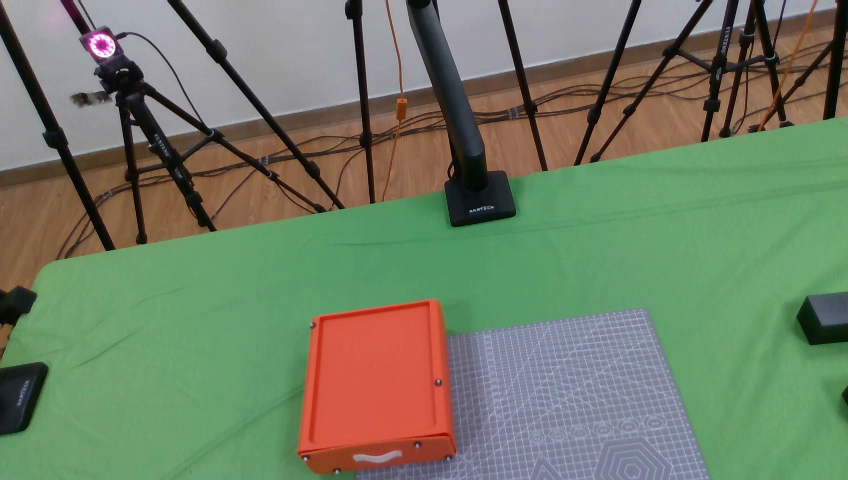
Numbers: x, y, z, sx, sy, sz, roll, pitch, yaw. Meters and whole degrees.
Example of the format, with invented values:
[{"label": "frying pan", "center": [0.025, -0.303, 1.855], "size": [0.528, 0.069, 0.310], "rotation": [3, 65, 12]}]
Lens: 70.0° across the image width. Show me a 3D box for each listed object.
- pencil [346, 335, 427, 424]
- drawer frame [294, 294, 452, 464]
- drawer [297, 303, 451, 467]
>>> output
[{"label": "pencil", "center": [-0.057, 0.202, 0.889], "size": [0.012, 0.012, 0.192], "rotation": [-37, 55, -18]}, {"label": "drawer frame", "center": [-0.070, 0.197, 0.861], "size": [0.201, 0.083, 0.211], "rotation": [-10, 48, 5]}, {"label": "drawer", "center": [-0.068, 0.201, 0.859], "size": [0.194, 0.074, 0.209], "rotation": [-9, 48, 6]}]
